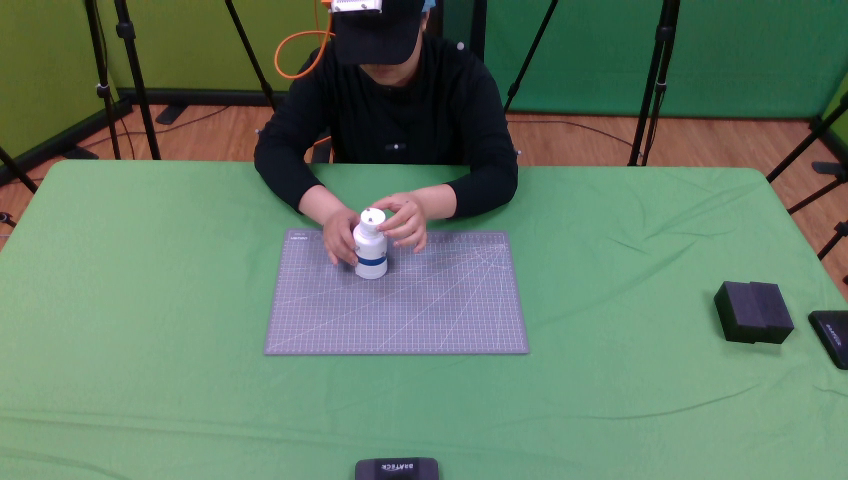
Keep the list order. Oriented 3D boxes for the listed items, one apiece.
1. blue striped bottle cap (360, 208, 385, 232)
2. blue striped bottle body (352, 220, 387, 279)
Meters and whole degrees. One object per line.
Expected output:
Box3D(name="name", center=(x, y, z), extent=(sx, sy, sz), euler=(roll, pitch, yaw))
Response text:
Box3D(name="blue striped bottle cap", center=(-0.089, -0.035, 1.052), extent=(0.044, 0.021, 0.044), euler=(1, 46, -1))
Box3D(name="blue striped bottle body", center=(-0.099, 0.011, 1.108), extent=(0.063, 0.121, 0.062), euler=(2, 46, -2))
